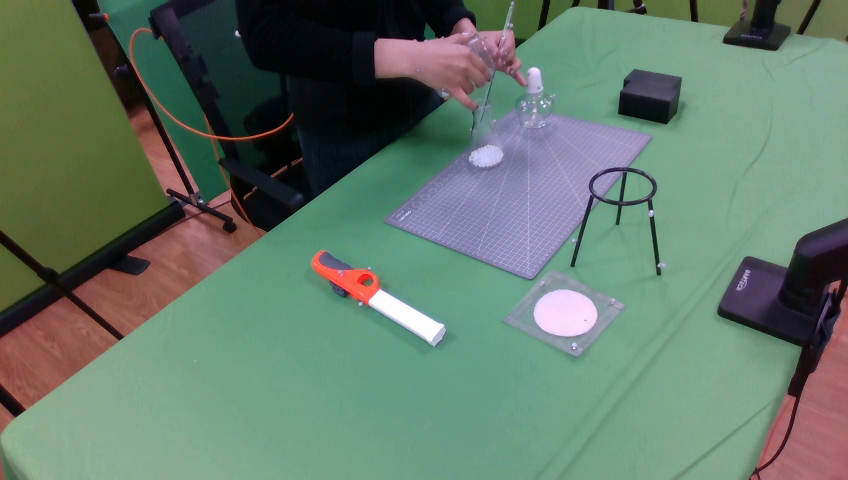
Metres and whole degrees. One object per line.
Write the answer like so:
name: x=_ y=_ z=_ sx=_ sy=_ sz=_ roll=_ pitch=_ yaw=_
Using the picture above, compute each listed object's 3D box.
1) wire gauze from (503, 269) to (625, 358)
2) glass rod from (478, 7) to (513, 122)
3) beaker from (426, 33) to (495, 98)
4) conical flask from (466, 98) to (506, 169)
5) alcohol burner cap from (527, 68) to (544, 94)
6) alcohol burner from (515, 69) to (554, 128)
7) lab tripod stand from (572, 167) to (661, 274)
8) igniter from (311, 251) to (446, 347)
wire gauze: x=0.194 y=0.100 z=0.840 sx=0.120 sy=0.011 sz=0.125 roll=27 pitch=54 yaw=36
glass rod: x=0.125 y=-0.304 z=1.058 sx=0.008 sy=0.200 sz=0.008 roll=13 pitch=21 yaw=-5
beaker: x=0.061 y=-0.293 z=1.034 sx=0.100 sy=0.084 sz=0.073 roll=-28 pitch=38 yaw=-1
conical flask: x=0.111 y=-0.199 z=1.116 sx=0.075 sy=0.122 sz=0.075 roll=-5 pitch=40 yaw=5
alcohol burner cap: x=0.216 y=-0.312 z=1.179 sx=0.034 sy=0.048 sz=0.033 roll=-9 pitch=40 yaw=8
alcohol burner: x=0.221 y=-0.285 z=1.203 sx=0.078 sy=0.119 sz=0.077 roll=-4 pitch=39 yaw=4
lab tripod stand: x=0.284 y=-0.030 z=0.879 sx=0.148 sy=0.132 sz=0.147 roll=-7 pitch=38 yaw=6
igniter: x=-0.078 y=0.081 z=0.899 sx=0.274 sy=0.025 sz=0.057 roll=27 pitch=62 yaw=35
